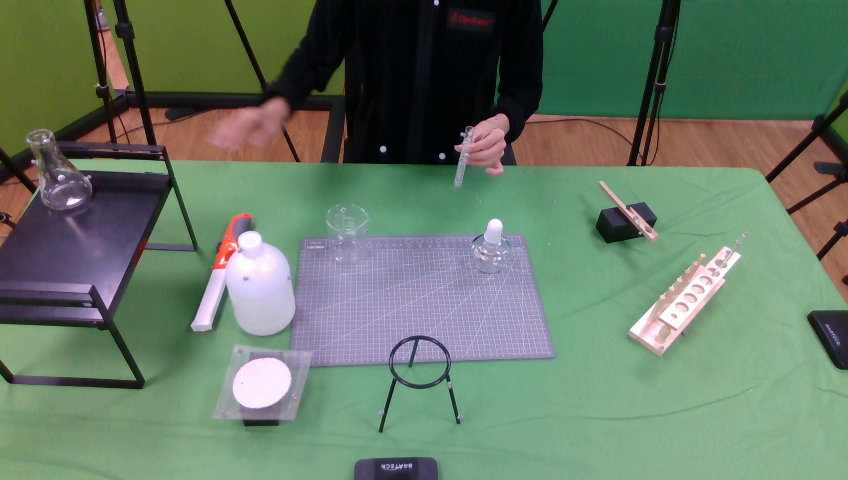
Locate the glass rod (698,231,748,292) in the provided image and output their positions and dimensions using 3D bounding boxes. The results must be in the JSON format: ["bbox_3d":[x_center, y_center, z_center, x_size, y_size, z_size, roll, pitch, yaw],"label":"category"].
[{"bbox_3d":[0.514,0.044,1.051,0.008,0.200,0.008,1,55,-1],"label":"glass rod"}]

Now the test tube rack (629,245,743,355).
[{"bbox_3d":[0.474,0.095,1.091,0.242,0.085,0.066,-34,56,-31],"label":"test tube rack"}]

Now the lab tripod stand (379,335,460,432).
[{"bbox_3d":[-0.011,0.214,0.911,0.148,0.132,0.147,1,45,0],"label":"lab tripod stand"}]

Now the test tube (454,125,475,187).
[{"bbox_3d":[0.071,-0.147,1.084,0.017,0.151,0.017,4,54,-5],"label":"test tube"}]

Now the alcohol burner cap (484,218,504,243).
[{"bbox_3d":[0.130,-0.021,1.106,0.034,0.048,0.033,3,51,-4],"label":"alcohol burner cap"}]

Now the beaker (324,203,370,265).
[{"bbox_3d":[-0.142,-0.009,1.137,0.084,0.101,0.073,-3,47,-7],"label":"beaker"}]

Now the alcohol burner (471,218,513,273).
[{"bbox_3d":[0.128,0.005,1.132,0.078,0.120,0.077,0,47,0],"label":"alcohol burner"}]

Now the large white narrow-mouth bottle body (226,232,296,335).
[{"bbox_3d":[-0.270,0.065,0.995,0.102,0.195,0.101,2,46,-2],"label":"large white narrow-mouth bottle body"}]

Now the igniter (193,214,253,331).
[{"bbox_3d":[-0.368,0.050,1.119,0.057,0.025,0.275,-3,46,8],"label":"igniter"}]

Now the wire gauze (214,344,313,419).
[{"bbox_3d":[-0.241,0.213,0.915,0.121,0.011,0.124,5,46,1],"label":"wire gauze"}]

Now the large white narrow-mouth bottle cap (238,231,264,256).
[{"bbox_3d":[-0.266,0.006,0.932,0.038,0.024,0.037,2,46,-2],"label":"large white narrow-mouth bottle cap"}]

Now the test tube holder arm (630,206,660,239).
[{"bbox_3d":[0.431,-0.034,1.192,0.010,0.015,0.087,-23,51,-12],"label":"test tube holder arm"}]

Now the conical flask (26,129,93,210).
[{"bbox_3d":[-0.575,-0.113,0.946,0.075,0.122,0.075,2,46,-2],"label":"conical flask"}]

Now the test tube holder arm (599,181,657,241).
[{"bbox_3d":[0.407,-0.062,1.219,0.013,0.015,0.177,-23,51,-13],"label":"test tube holder arm"}]
